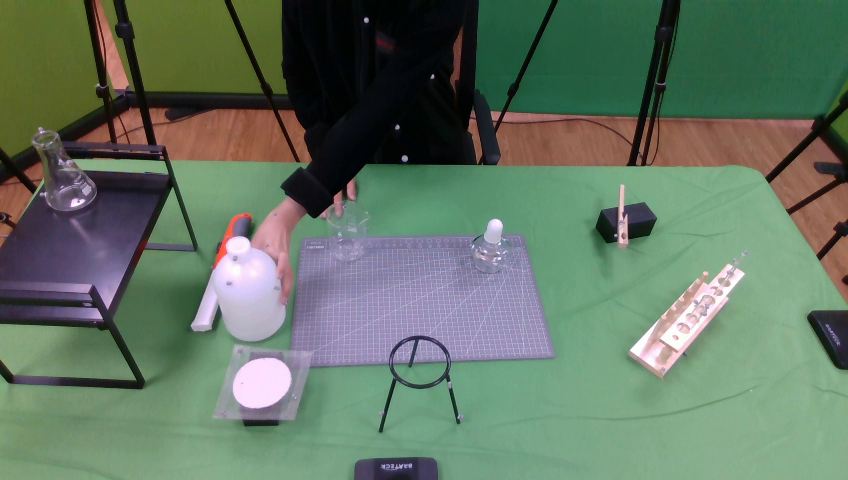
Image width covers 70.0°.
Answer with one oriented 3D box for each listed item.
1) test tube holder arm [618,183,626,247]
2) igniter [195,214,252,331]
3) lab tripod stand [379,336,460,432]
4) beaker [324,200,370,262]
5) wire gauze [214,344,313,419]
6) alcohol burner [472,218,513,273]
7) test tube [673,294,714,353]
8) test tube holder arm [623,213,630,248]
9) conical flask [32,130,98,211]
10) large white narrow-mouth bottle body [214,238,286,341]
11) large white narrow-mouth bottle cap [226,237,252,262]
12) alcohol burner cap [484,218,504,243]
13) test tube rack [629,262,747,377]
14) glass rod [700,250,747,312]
[{"bbox_3d":[0.395,-0.053,1.210,0.013,0.015,0.177,15,47,-1],"label":"test tube holder arm"},{"bbox_3d":[-0.367,0.050,1.119,0.057,0.025,0.275,-4,46,7],"label":"igniter"},{"bbox_3d":[-0.011,0.214,0.911,0.148,0.132,0.147,1,45,0],"label":"lab tripod stand"},{"bbox_3d":[-0.143,-0.015,1.142,0.084,0.101,0.073,1,46,-4],"label":"beaker"},{"bbox_3d":[-0.241,0.213,0.916,0.121,0.011,0.124,5,46,1],"label":"wire gauze"},{"bbox_3d":[0.128,0.005,1.132,0.078,0.120,0.077,0,47,0],"label":"alcohol burner"},{"bbox_3d":[0.428,0.137,0.978,0.017,0.151,0.017,4,47,-4],"label":"test tube"},{"bbox_3d":[0.392,-0.020,1.180,0.010,0.015,0.087,15,47,-1],"label":"test tube holder arm"},{"bbox_3d":[-0.565,-0.110,0.944,0.075,0.122,0.075,2,46,-2],"label":"conical flask"},{"bbox_3d":[-0.286,0.073,0.986,0.102,0.195,0.101,2,46,-2],"label":"large white narrow-mouth bottle body"},{"bbox_3d":[-0.282,0.014,0.923,0.038,0.024,0.037,2,46,-2],"label":"large white narrow-mouth bottle cap"},{"bbox_3d":[0.130,-0.021,1.106,0.034,0.048,0.033,3,51,-4],"label":"alcohol burner cap"},{"bbox_3d":[0.464,0.126,1.060,0.242,0.085,0.066,-34,56,-31],"label":"test tube rack"},{"bbox_3d":[0.500,0.075,1.021,0.008,0.201,0.008,0,55,1],"label":"glass rod"}]
